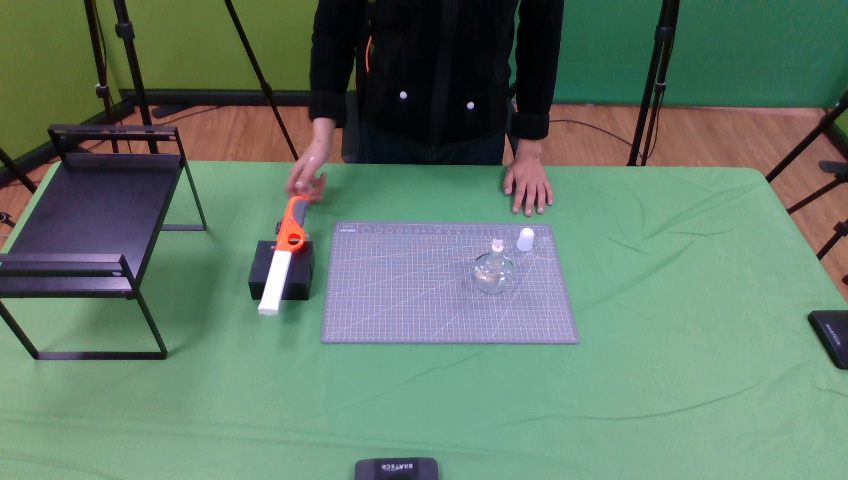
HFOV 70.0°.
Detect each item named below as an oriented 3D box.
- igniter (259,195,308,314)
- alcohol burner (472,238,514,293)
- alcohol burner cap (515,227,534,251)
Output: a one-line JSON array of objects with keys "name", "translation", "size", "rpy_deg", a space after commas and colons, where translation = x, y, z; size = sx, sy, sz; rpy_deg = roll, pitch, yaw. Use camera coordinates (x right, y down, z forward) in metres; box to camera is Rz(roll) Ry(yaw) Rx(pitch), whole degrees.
[{"name": "igniter", "translation": [-0.252, 0.016, 1.094], "size": [0.057, 0.025, 0.275], "rpy_deg": [6, 48, -3]}, {"name": "alcohol burner", "translation": [0.128, 0.041, 1.101], "size": [0.078, 0.120, 0.077], "rpy_deg": [1, 47, -1]}, {"name": "alcohol burner cap", "translation": [0.202, -0.005, 1.201], "size": [0.034, 0.048, 0.033], "rpy_deg": [3, 46, -3]}]
